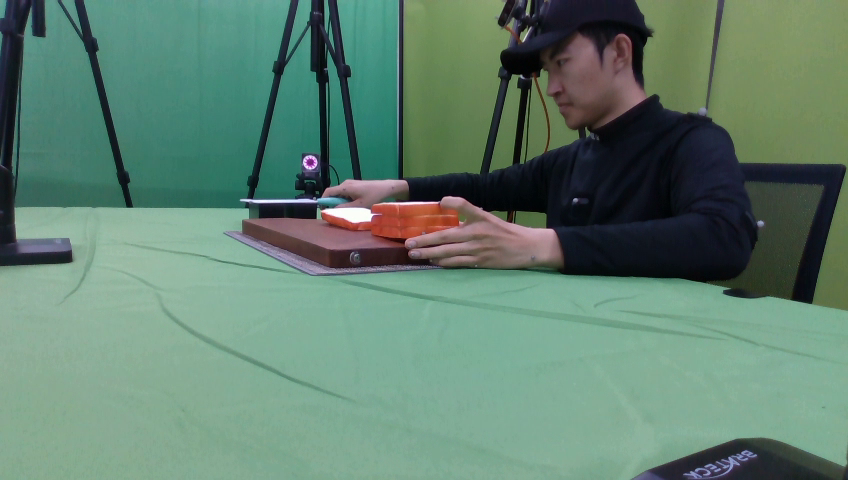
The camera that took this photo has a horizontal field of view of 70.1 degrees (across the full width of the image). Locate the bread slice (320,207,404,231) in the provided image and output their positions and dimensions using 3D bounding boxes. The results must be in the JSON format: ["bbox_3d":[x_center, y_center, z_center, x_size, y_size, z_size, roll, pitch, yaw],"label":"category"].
[{"bbox_3d":[-0.114,-0.037,1.042,0.105,0.019,0.131,-6,16,-40],"label":"bread slice"}]

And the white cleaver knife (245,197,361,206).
[{"bbox_3d":[-0.253,-0.086,1.296,0.065,0.021,0.288,13,11,43],"label":"white cleaver knife"}]

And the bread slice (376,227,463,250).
[{"bbox_3d":[-0.005,-0.001,0.888,0.107,0.018,0.134,-3,-6,-19],"label":"bread slice"}]
